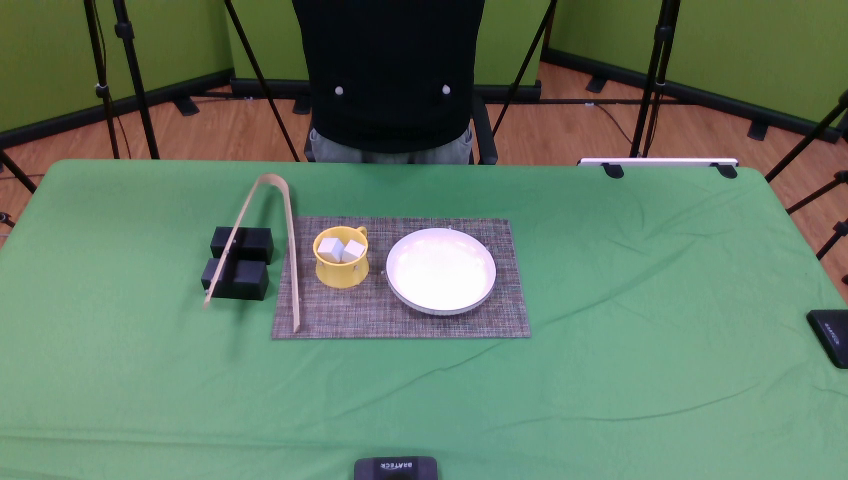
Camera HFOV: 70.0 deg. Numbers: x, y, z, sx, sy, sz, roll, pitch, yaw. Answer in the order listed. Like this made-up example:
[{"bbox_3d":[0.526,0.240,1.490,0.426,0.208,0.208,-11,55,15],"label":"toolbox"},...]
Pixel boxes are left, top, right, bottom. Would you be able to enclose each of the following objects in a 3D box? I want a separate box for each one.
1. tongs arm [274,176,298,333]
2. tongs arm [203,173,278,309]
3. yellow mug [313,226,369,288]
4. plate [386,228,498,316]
[{"bbox_3d":[-0.260,0.014,1.154,0.028,0.028,0.385,9,43,-26],"label":"tongs arm"},{"bbox_3d":[-0.331,-0.012,1.122,0.051,0.026,0.382,21,37,-18],"label":"tongs arm"},{"bbox_3d":[-0.146,0.021,1.132,0.099,0.064,0.130,24,49,19],"label":"yellow mug"},{"bbox_3d":[0.032,0.062,1.126,0.208,0.039,0.206,2,46,-2],"label":"plate"}]
